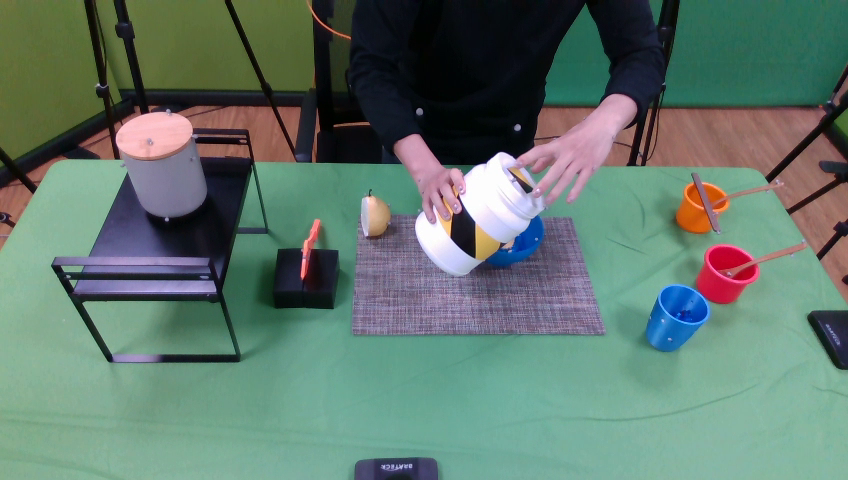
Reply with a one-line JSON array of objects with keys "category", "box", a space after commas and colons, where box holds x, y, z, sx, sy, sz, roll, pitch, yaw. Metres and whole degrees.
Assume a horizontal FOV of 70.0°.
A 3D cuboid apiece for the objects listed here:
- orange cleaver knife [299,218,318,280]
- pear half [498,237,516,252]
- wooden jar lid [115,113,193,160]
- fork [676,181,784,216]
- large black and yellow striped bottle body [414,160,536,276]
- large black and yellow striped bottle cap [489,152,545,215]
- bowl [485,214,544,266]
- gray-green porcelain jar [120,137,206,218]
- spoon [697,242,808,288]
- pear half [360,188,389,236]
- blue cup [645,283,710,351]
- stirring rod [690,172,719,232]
[{"category": "orange cleaver knife", "box": [-0.214, 0.013, 1.126, 0.012, 0.077, 0.210, 6, 17, -5]}, {"category": "pear half", "box": [0.145, -0.013, 1.167, 0.070, 0.031, 0.087, -22, 56, -18]}, {"category": "wooden jar lid", "box": [-0.399, -0.151, 0.900, 0.108, 0.021, 0.107, 3, 46, -3]}, {"category": "fork", "box": [0.618, -0.084, 1.235, 0.207, 0.019, 0.028, -23, 20, 38]}, {"category": "large black and yellow striped bottle body", "box": [0.089, -0.041, 0.985, 0.131, 0.184, 0.130, 37, 30, -25]}, {"category": "large black and yellow striped bottle cap", "box": [0.146, -0.089, 0.946, 0.115, 0.019, 0.114, 38, 28, -24]}, {"category": "bowl", "box": [0.149, -0.004, 1.167, 0.151, 0.077, 0.150, 2, 46, -2]}, {"category": "gray-green porcelain jar", "box": [-0.403, -0.106, 0.946, 0.106, 0.127, 0.105, 3, 46, -2]}, {"category": "spoon", "box": [0.601, 0.045, 1.116, 0.194, 0.022, 0.041, -29, 34, 30]}, {"category": "pear half", "box": [-0.096, -0.060, 1.181, 0.056, 0.110, 0.076, -13, 52, -17]}, {"category": "blue cup", "box": [0.426, 0.139, 1.040, 0.093, 0.100, 0.092, 4, 46, -4]}, {"category": "stirring rod", "box": [0.566, -0.080, 1.224, 0.014, 0.006, 0.175, 3, 46, 1]}]
